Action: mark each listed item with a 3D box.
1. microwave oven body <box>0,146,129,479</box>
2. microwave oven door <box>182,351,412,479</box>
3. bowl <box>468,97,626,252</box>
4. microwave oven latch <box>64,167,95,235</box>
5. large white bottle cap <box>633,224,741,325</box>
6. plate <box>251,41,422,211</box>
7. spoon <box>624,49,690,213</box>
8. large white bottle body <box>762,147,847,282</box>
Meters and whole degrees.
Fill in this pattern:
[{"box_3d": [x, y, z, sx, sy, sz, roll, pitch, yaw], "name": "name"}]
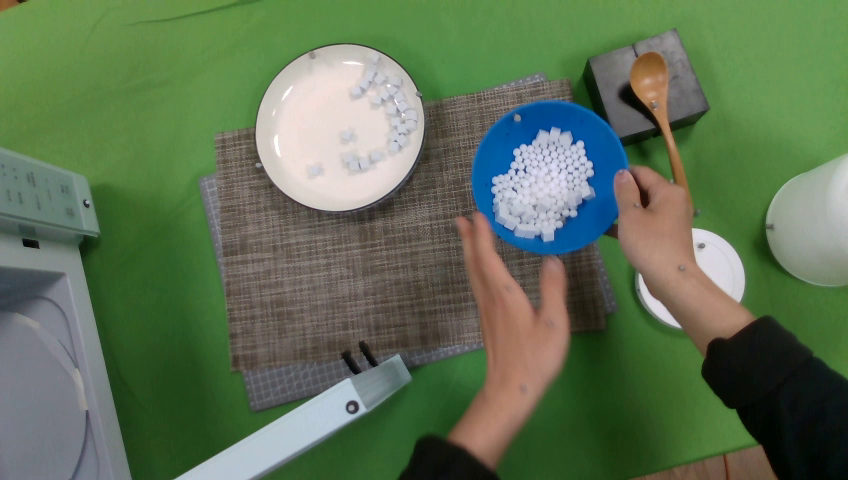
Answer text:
[{"box_3d": [-0.533, 0.154, 0.640, 0.326, 0.261, 0.440, -18, 83, 4], "name": "microwave oven body"}, {"box_3d": [-0.188, 0.220, 0.590, 0.356, 0.244, 0.039, -31, 81, 2], "name": "microwave oven door"}, {"box_3d": [0.122, -0.059, 0.619, 0.151, 0.077, 0.151, 0, 86, 6], "name": "bowl"}, {"box_3d": [-0.433, -0.048, 0.747, 0.030, 0.029, 0.079, -17, 83, 4], "name": "microwave oven latch"}, {"box_3d": [0.296, 0.039, 0.683, 0.115, 0.018, 0.114, -1, 84, 5], "name": "large white bottle cap"}, {"box_3d": [-0.103, -0.134, 0.732, 0.209, 0.038, 0.208, -1, 83, 7], "name": "plate"}, {"box_3d": [0.262, -0.115, 0.666, 0.041, 0.021, 0.194, -23, 104, 0], "name": "spoon"}, {"box_3d": [0.432, -0.028, 0.590, 0.130, 0.185, 0.130, -1, 83, 7], "name": "large white bottle body"}]
